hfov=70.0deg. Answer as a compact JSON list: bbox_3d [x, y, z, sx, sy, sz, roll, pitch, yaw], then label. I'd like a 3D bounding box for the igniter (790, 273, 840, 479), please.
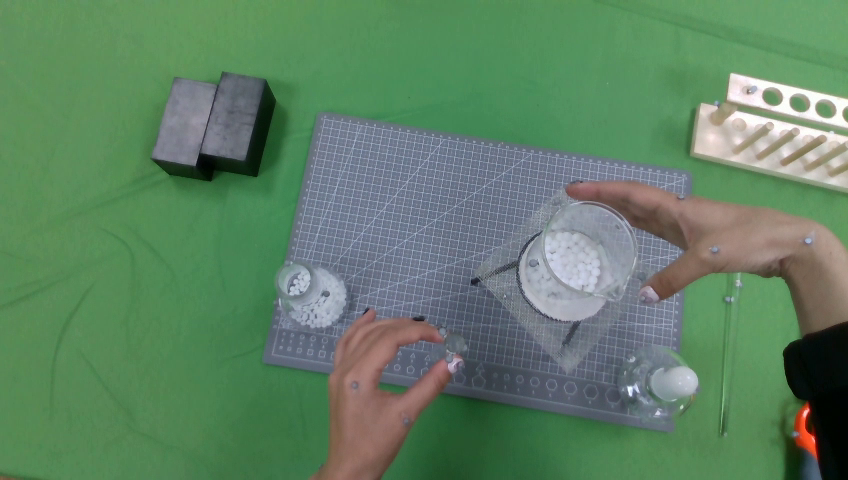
[{"bbox_3d":[0.425,0.171,0.655,0.057,0.025,0.275,14,78,-9],"label":"igniter"}]

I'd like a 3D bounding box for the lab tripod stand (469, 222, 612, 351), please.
[{"bbox_3d":[0.123,0.042,0.618,0.148,0.132,0.147,0,78,0],"label":"lab tripod stand"}]

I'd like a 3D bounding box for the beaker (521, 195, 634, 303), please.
[{"bbox_3d":[0.124,0.015,0.508,0.074,0.100,0.083,-29,79,-6],"label":"beaker"}]

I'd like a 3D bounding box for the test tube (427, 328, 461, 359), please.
[{"bbox_3d":[0.015,0.089,0.511,0.017,0.150,0.017,1,76,-4],"label":"test tube"}]

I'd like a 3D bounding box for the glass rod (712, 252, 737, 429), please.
[{"bbox_3d":[0.336,0.110,0.676,0.008,0.008,0.199,11,80,1],"label":"glass rod"}]

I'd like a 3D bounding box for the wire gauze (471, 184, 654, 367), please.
[{"bbox_3d":[0.126,0.029,0.553,0.121,0.011,0.125,-43,83,-7],"label":"wire gauze"}]

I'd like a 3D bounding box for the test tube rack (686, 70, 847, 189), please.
[{"bbox_3d":[0.439,-0.118,0.690,0.242,0.085,0.066,13,77,2],"label":"test tube rack"}]

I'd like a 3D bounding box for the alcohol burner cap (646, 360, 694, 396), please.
[{"bbox_3d":[0.236,0.129,0.575,0.034,0.048,0.033,2,71,-5],"label":"alcohol burner cap"}]

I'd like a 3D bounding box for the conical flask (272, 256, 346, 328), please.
[{"bbox_3d":[-0.123,0.047,0.616,0.075,0.122,0.075,0,77,-1],"label":"conical flask"}]

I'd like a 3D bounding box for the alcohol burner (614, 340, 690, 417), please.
[{"bbox_3d":[0.235,0.139,0.610,0.078,0.119,0.077,0,76,1],"label":"alcohol burner"}]
